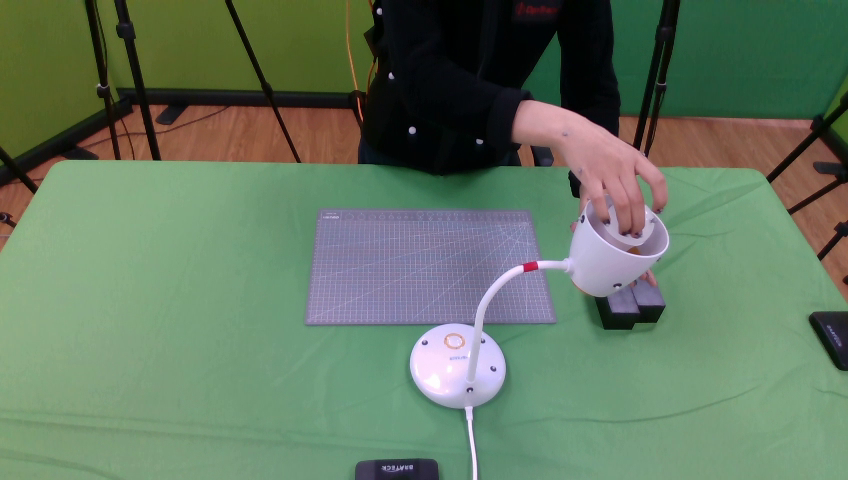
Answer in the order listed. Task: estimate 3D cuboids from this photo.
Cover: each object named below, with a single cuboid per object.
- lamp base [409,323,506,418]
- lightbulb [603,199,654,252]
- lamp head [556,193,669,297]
[{"bbox_3d":[0.063,0.161,0.940,0.161,0.181,0.178,-10,51,-13],"label":"lamp base"},{"bbox_3d":[0.251,-0.005,0.776,0.059,0.108,0.059,12,42,-10],"label":"lightbulb"},{"bbox_3d":[0.237,0.017,0.793,0.113,0.123,0.111,14,43,-13],"label":"lamp head"}]
